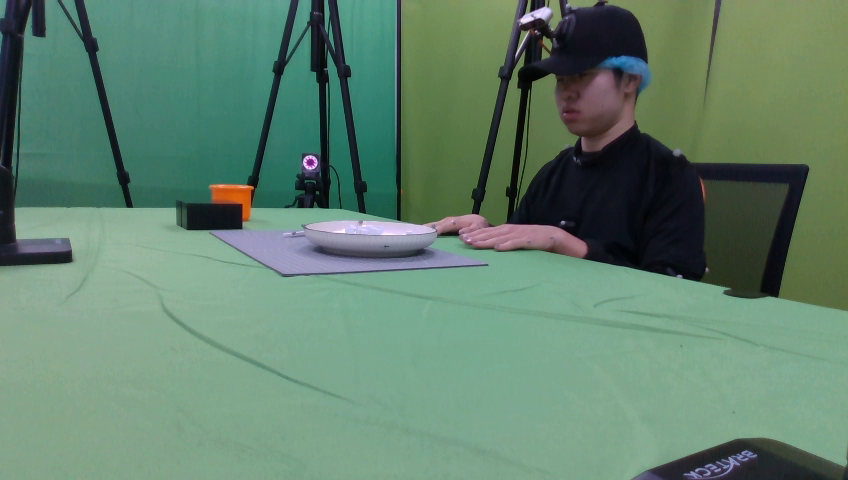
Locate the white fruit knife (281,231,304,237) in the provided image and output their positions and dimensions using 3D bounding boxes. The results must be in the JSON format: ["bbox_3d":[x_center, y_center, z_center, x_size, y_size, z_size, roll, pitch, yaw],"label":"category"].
[{"bbox_3d":[-0.178,-0.017,1.131,0.208,0.016,0.027,-8,-17,-47],"label":"white fruit knife"}]

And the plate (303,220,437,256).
[{"bbox_3d":[-0.084,-0.003,0.951,0.209,0.038,0.209,3,7,0],"label":"plate"}]

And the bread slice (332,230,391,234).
[{"bbox_3d":[-0.088,-0.001,0.947,0.105,0.019,0.131,-5,11,-45],"label":"bread slice"}]
